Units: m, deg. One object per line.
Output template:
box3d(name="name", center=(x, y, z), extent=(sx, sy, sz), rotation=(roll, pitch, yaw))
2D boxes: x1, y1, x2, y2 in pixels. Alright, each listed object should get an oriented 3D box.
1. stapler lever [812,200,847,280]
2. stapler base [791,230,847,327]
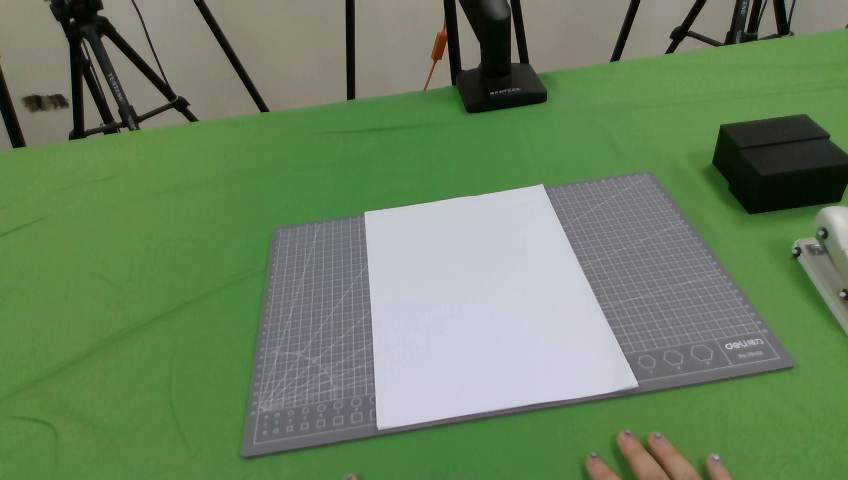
box3d(name="stapler lever", center=(0.376, 0.011, 0.527), extent=(0.027, 0.040, 0.117), rotation=(-5, 41, 6))
box3d(name="stapler base", center=(0.378, 0.029, 0.545), extent=(0.041, 0.025, 0.129), rotation=(-5, 41, 6))
